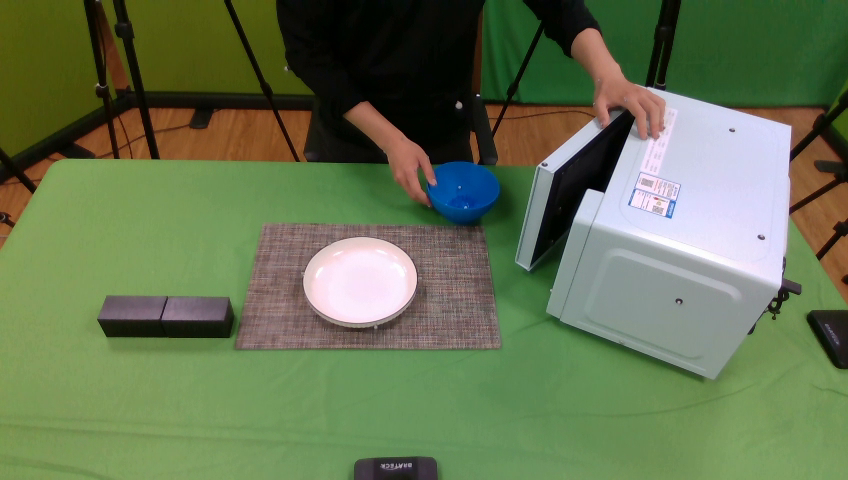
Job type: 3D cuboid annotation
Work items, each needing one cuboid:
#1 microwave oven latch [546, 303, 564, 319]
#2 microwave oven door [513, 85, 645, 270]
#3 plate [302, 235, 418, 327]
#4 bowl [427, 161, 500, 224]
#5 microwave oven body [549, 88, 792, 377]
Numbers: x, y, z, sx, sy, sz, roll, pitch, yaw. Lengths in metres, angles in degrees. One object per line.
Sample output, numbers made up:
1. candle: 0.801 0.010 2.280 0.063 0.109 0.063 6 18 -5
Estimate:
1. microwave oven latch: 0.242 0.102 1.081 0.030 0.029 0.079 21 48 17
2. microwave oven door: 0.304 -0.126 1.164 0.039 0.245 0.355 34 53 25
3. plate: -0.114 0.077 1.098 0.208 0.039 0.206 2 46 -2
4. bowl: 0.076 -0.085 1.248 0.151 0.077 0.150 3 46 -3
5. microwave oven body: 0.456 -0.028 1.088 0.325 0.261 0.440 20 47 16
